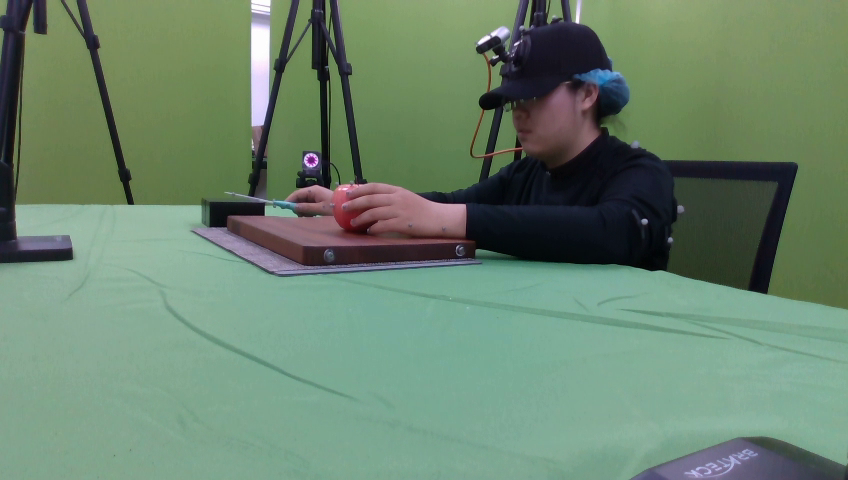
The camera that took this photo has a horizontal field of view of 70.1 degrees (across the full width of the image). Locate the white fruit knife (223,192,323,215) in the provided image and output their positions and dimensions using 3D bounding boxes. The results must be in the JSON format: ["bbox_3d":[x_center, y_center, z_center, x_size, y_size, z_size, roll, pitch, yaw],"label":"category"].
[{"bbox_3d":[-0.298,-0.075,1.213,0.208,0.016,0.027,10,-7,-31],"label":"white fruit knife"}]

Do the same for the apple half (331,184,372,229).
[{"bbox_3d":[-0.123,-0.056,0.973,0.082,0.081,0.032,-4,14,-40],"label":"apple half"}]

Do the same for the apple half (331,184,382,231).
[{"bbox_3d":[-0.098,-0.049,0.943,0.081,0.074,0.053,2,11,-41],"label":"apple half"}]
